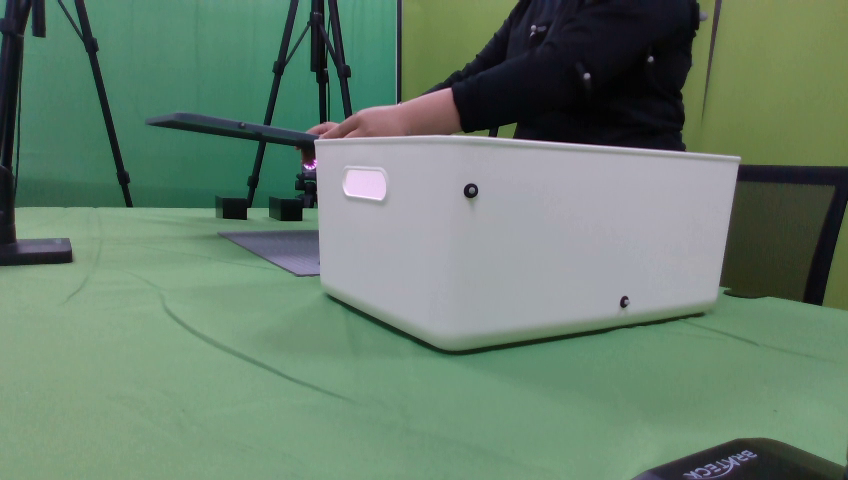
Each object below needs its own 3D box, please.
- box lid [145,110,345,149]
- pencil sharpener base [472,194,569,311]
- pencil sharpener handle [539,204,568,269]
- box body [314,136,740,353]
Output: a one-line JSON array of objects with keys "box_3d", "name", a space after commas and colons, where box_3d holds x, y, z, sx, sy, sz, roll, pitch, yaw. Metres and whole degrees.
[{"box_3d": [-0.268, -0.181, 1.051, 0.374, 0.015, 0.262, 4, 5, -36], "name": "box lid"}, {"box_3d": [0.095, 0.010, 0.592, 0.077, 0.107, 0.061, -1, 7, -33], "name": "pencil sharpener base"}, {"box_3d": [0.138, -0.003, 0.621, 0.031, 0.067, 0.036, -1, 15, -33], "name": "pencil sharpener handle"}, {"box_3d": [0.098, -0.012, 0.605, 0.366, 0.160, 0.253, -2, 8, -33], "name": "box body"}]
